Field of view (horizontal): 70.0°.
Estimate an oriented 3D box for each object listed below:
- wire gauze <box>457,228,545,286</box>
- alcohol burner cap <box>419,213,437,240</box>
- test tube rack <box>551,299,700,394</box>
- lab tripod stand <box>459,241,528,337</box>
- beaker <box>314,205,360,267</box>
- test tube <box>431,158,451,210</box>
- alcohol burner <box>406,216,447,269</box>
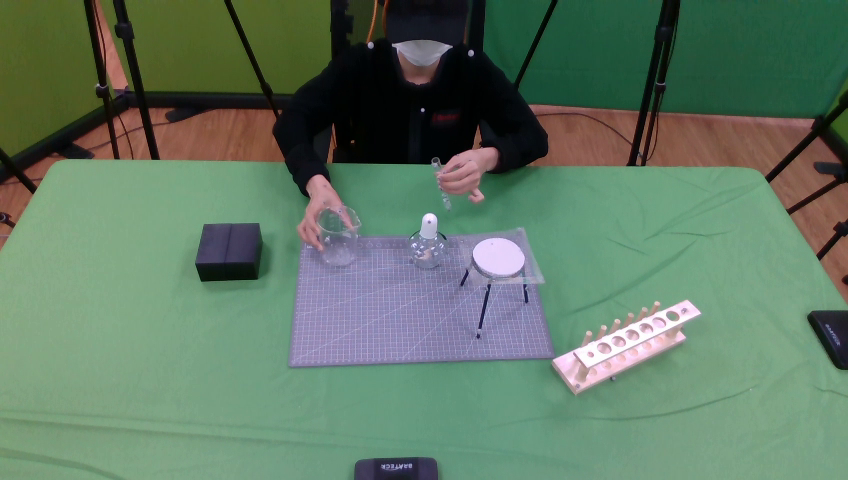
[{"bbox_3d":[0.126,0.029,1.006,0.125,0.011,0.120,-4,46,-10],"label":"wire gauze"},{"bbox_3d":[0.009,-0.027,1.109,0.034,0.048,0.033,3,44,-3],"label":"alcohol burner cap"},{"bbox_3d":[0.339,0.166,1.021,0.242,0.085,0.066,-19,50,-21],"label":"test tube rack"},{"bbox_3d":[0.122,0.075,1.054,0.148,0.132,0.147,3,44,-3],"label":"lab tripod stand"},{"bbox_3d":[-0.160,-0.004,1.133,0.084,0.101,0.073,9,46,3],"label":"beaker"},{"bbox_3d":[0.034,-0.105,1.172,0.017,0.151,0.017,-6,55,9],"label":"test tube"},{"bbox_3d":[0.006,-0.003,1.134,0.078,0.120,0.077,2,48,-2],"label":"alcohol burner"}]
